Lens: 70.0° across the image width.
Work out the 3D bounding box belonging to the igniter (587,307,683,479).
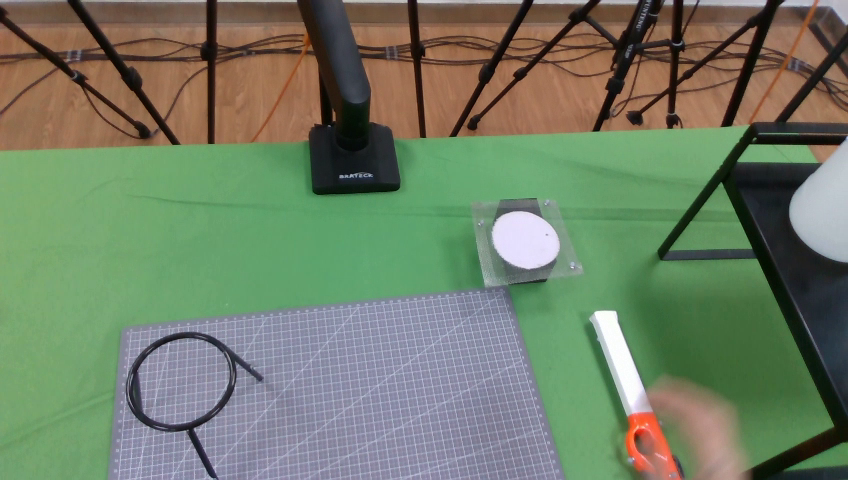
[{"bbox_3d":[0.239,0.199,0.672,0.057,0.025,0.273,2,55,-20],"label":"igniter"}]

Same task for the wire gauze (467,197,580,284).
[{"bbox_3d":[0.120,-0.005,0.748,0.122,0.011,0.124,-4,57,-10],"label":"wire gauze"}]

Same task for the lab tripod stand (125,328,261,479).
[{"bbox_3d":[-0.213,0.155,0.570,0.149,0.132,0.147,5,56,-7],"label":"lab tripod stand"}]

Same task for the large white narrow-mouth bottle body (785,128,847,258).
[{"bbox_3d":[0.436,-0.072,0.565,0.102,0.196,0.101,4,55,-5],"label":"large white narrow-mouth bottle body"}]
